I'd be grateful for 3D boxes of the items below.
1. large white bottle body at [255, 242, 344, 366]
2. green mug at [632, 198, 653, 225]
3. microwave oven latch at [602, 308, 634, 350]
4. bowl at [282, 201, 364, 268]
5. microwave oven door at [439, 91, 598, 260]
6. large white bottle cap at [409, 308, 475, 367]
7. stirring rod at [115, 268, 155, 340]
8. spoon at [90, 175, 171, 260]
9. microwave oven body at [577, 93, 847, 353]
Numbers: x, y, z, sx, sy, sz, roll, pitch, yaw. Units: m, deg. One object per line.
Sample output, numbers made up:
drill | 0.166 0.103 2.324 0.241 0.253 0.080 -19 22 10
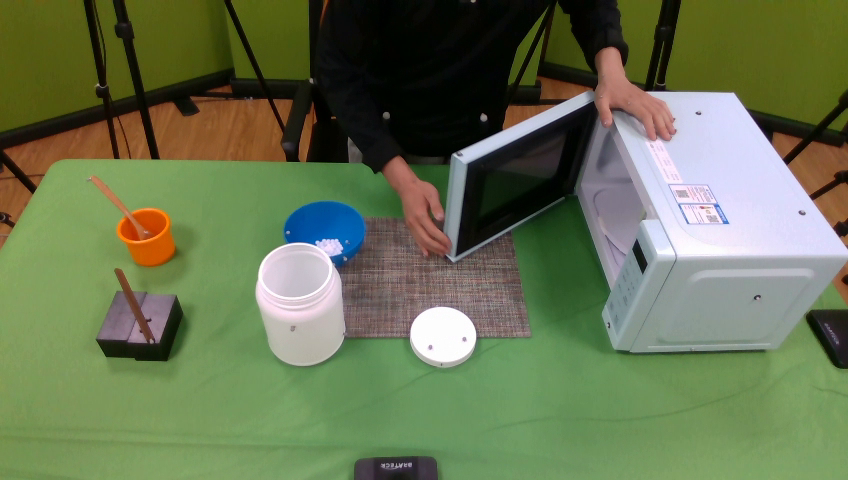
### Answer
large white bottle body | -0.196 0.102 0.967 0.131 0.185 0.130 2 49 -2
green mug | 0.457 -0.056 1.155 0.125 0.105 0.092 -10 43 -10
microwave oven latch | 0.332 0.153 1.044 0.030 0.029 0.078 -1 45 -4
bowl | -0.187 0.005 1.138 0.151 0.077 0.150 3 46 -3
microwave oven door | 0.184 -0.126 1.163 0.356 0.245 0.039 -28 53 -27
large white bottle cap | 0.031 0.166 1.041 0.115 0.018 0.114 2 46 -2
stirring rod | -0.479 0.103 0.999 0.014 0.006 0.175 7 32 -49
spoon | -0.539 -0.042 1.111 0.041 0.194 0.021 -46 19 -32
microwave oven body | 0.475 -0.042 1.110 0.326 0.261 0.438 -1 45 -4
